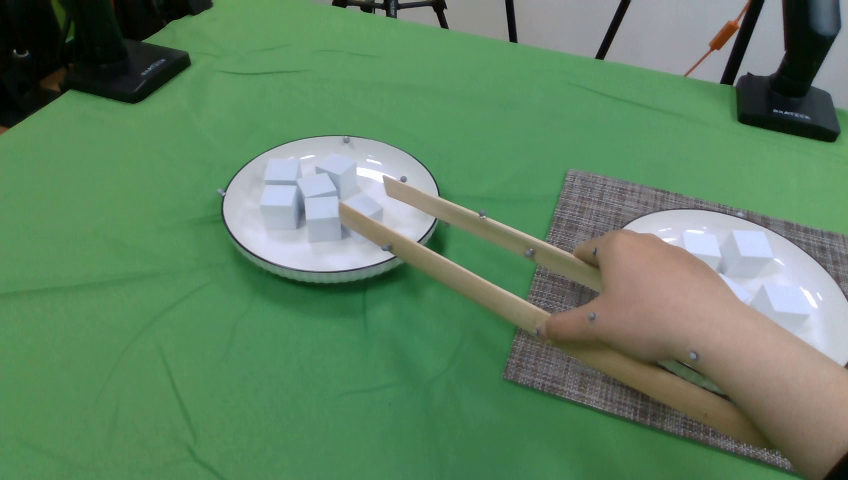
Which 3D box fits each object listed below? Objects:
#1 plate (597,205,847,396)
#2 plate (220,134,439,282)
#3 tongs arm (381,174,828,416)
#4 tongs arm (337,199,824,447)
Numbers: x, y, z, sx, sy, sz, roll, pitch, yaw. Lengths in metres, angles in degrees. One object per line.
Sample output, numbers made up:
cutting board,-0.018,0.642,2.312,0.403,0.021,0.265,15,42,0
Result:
plate,0.254,0.050,0.532,0.208,0.039,0.205,2,44,-2
plate,-0.089,-0.031,0.597,0.209,0.038,0.207,3,44,-2
tongs arm,0.094,0.026,0.461,0.381,0.027,0.051,25,45,32
tongs arm,0.071,0.043,0.442,0.384,0.028,0.028,26,43,32
